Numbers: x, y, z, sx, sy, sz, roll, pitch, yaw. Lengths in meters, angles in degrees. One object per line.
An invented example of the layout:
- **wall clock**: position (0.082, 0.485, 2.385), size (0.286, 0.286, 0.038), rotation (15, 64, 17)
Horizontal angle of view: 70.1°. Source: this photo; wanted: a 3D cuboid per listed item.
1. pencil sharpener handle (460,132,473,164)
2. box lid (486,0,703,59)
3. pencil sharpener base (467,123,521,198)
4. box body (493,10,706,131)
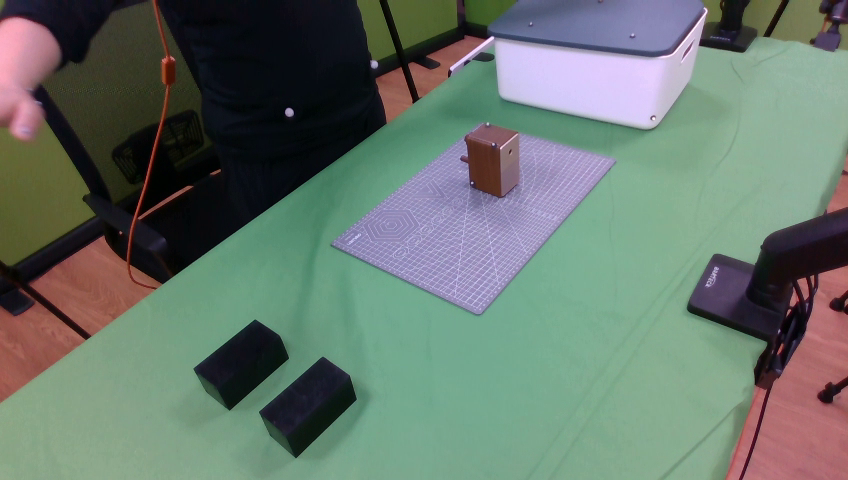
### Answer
- **pencil sharpener handle**: position (0.077, -0.163, 1.062), size (0.030, 0.068, 0.036), rotation (23, 44, 32)
- **box lid**: position (0.338, -0.437, 1.205), size (0.369, 0.015, 0.264), rotation (18, 47, 29)
- **pencil sharpener base**: position (0.119, -0.138, 1.044), size (0.076, 0.107, 0.061), rotation (23, 50, 32)
- **box body**: position (0.354, -0.377, 1.254), size (0.361, 0.161, 0.254), rotation (20, 48, 28)
